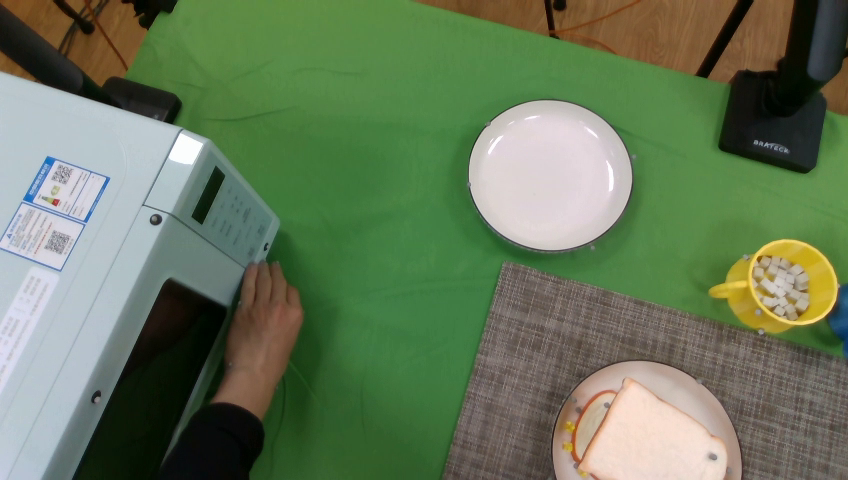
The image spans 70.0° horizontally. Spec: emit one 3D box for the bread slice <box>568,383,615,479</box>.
[{"bbox_3d":[0.229,0.227,0.682,0.131,0.019,0.104,29,78,9],"label":"bread slice"}]

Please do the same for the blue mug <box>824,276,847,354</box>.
[{"bbox_3d":[0.511,0.082,0.679,0.082,0.106,0.116,37,79,12],"label":"blue mug"}]

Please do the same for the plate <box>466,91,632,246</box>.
[{"bbox_3d":[0.157,-0.089,0.775,0.207,0.039,0.206,-1,75,2],"label":"plate"}]

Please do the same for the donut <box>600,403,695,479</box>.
[{"bbox_3d":[0.239,0.227,0.652,0.099,0.048,0.098,0,73,2],"label":"donut"}]

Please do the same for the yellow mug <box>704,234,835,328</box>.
[{"bbox_3d":[0.398,0.050,0.712,0.131,0.064,0.099,-4,73,3],"label":"yellow mug"}]

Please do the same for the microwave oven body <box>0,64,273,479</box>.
[{"bbox_3d":[-0.411,0.080,0.632,0.325,0.261,0.440,18,77,7],"label":"microwave oven body"}]

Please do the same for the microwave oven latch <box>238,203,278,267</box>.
[{"bbox_3d":[-0.208,-0.009,0.748,0.030,0.029,0.079,21,77,8],"label":"microwave oven latch"}]

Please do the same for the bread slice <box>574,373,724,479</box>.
[{"bbox_3d":[0.237,0.212,0.623,0.134,0.018,0.107,28,84,4],"label":"bread slice"}]

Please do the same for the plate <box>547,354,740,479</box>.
[{"bbox_3d":[0.241,0.233,0.679,0.209,0.038,0.208,-1,74,2],"label":"plate"}]

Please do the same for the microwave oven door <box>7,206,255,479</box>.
[{"bbox_3d":[-0.288,0.163,0.599,0.039,0.245,0.354,18,76,8],"label":"microwave oven door"}]
